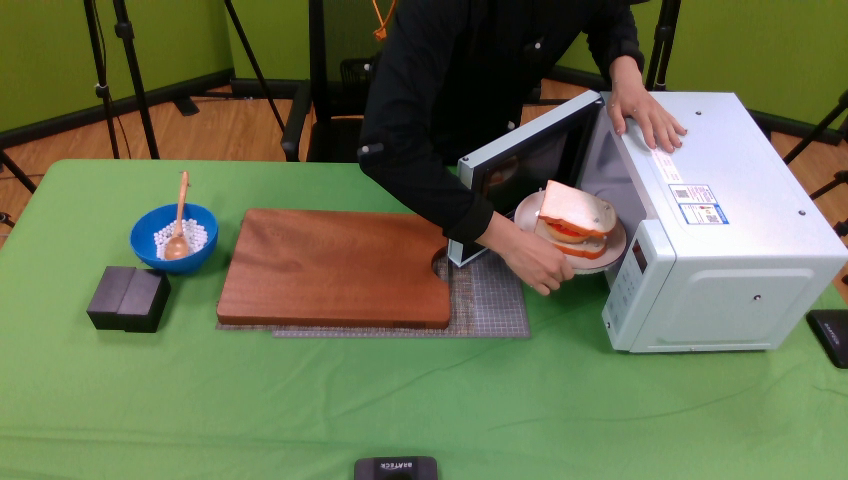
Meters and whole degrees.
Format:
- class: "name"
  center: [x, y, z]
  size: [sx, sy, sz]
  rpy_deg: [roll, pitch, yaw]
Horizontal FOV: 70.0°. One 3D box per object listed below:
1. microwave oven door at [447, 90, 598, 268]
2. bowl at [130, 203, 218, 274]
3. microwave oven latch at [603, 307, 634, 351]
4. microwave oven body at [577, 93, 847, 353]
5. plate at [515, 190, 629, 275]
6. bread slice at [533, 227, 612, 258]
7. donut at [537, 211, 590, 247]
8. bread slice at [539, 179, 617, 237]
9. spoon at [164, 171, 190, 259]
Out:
- class: "microwave oven door"
  center: [0.191, -0.120, 1.157]
  size: [0.356, 0.245, 0.039]
  rpy_deg: [-31, 55, -30]
- class: "bowl"
  center: [-0.451, 0.009, 1.116]
  size: [0.151, 0.077, 0.150]
  rpy_deg: [3, 45, -3]
- class: "microwave oven latch"
  center: [0.332, 0.153, 1.044]
  size: [0.030, 0.029, 0.078]
  rpy_deg: [0, 45, -3]
- class: "microwave oven body"
  center: [0.475, -0.041, 1.109]
  size: [0.326, 0.261, 0.438]
  rpy_deg: [-1, 45, -4]
- class: "plate"
  center: [0.267, -0.012, 1.112]
  size: [0.208, 0.039, 0.206]
  rpy_deg: [3, 47, -3]
- class: "bread slice"
  center: [0.282, -0.022, 1.122]
  size: [0.131, 0.019, 0.104]
  rpy_deg: [27, 53, 18]
- class: "donut"
  center: [0.253, -0.029, 1.092]
  size: [0.099, 0.048, 0.098]
  rpy_deg: [0, 52, 0]
- class: "bread slice"
  center: [0.273, -0.054, 1.071]
  size: [0.134, 0.018, 0.106]
  rpy_deg: [17, 47, 2]
- class: "spoon"
  center: [-0.452, -0.046, 1.129]
  size: [0.041, 0.022, 0.193]
  rpy_deg: [-1, 69, -3]
